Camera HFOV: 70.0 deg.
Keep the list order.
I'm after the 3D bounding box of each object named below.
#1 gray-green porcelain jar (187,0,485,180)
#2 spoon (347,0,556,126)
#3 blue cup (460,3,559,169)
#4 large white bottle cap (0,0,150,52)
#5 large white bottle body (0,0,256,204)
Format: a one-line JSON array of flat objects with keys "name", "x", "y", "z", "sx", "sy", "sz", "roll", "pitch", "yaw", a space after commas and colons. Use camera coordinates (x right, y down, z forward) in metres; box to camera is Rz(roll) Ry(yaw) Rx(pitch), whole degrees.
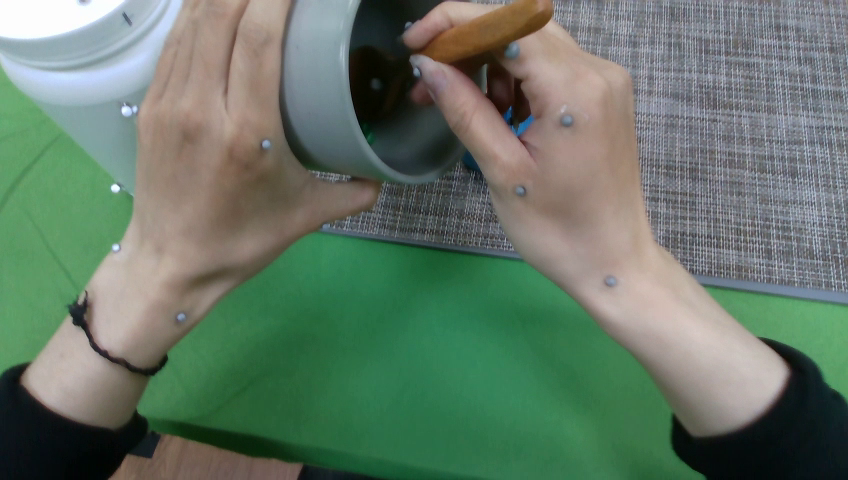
[{"name": "gray-green porcelain jar", "x": -0.049, "y": -0.089, "z": 0.314, "sx": 0.125, "sy": 0.107, "sz": 0.105, "roll": 13, "pitch": 65, "yaw": 36}, {"name": "spoon", "x": -0.009, "y": -0.080, "z": 0.282, "sx": 0.022, "sy": 0.192, "sz": 0.042, "roll": -20, "pitch": 103, "yaw": -26}, {"name": "blue cup", "x": 0.050, "y": -0.102, "z": 0.439, "sx": 0.092, "sy": 0.101, "sz": 0.092, "roll": -2, "pitch": 66, "yaw": 5}, {"name": "large white bottle cap", "x": -0.207, "y": -0.157, "z": 0.346, "sx": 0.115, "sy": 0.018, "sz": 0.114, "roll": -1, "pitch": 66, "yaw": 3}, {"name": "large white bottle body", "x": -0.201, "y": -0.121, "z": 0.423, "sx": 0.130, "sy": 0.186, "sz": 0.129, "roll": -1, "pitch": 66, "yaw": 3}]
